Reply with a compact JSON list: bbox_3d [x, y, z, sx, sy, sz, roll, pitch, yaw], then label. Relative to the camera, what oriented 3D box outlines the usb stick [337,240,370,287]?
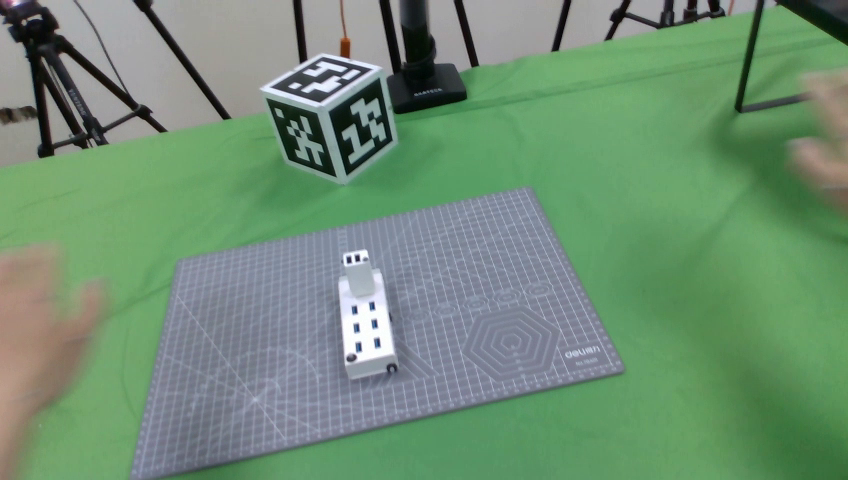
[{"bbox_3d":[-0.071,0.030,0.622,0.027,0.060,0.021,-15,44,-3],"label":"usb stick"}]

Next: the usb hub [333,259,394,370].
[{"bbox_3d":[-0.065,0.072,0.618,0.049,0.025,0.123,-13,42,-2],"label":"usb hub"}]
